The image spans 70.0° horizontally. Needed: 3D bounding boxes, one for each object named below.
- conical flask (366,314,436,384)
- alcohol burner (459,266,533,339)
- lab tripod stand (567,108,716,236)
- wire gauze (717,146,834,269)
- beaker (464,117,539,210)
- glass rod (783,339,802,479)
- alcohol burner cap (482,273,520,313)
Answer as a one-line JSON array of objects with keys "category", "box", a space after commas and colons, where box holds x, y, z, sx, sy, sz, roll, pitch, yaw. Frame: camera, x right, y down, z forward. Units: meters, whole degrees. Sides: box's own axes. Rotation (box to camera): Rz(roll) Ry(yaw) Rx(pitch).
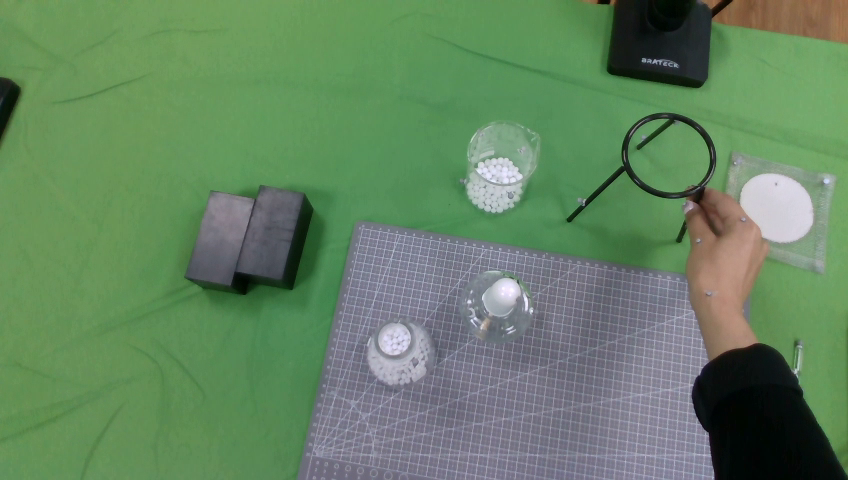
[{"category": "conical flask", "box": [-0.026, 0.102, 0.602, 0.075, 0.122, 0.075, 0, 74, 1]}, {"category": "alcohol burner", "box": [0.075, 0.060, 0.617, 0.078, 0.119, 0.077, 0, 74, -1]}, {"category": "lab tripod stand", "box": [0.234, -0.067, 0.644, 0.148, 0.132, 0.147, 0, 76, 2]}, {"category": "wire gauze", "box": [0.407, -0.041, 0.701, 0.125, 0.011, 0.121, 17, 76, 3]}, {"category": "beaker", "box": [0.083, -0.081, 0.667, 0.084, 0.101, 0.073, -30, 76, -8]}, {"category": "glass rod", "box": [0.383, 0.201, 0.633, 0.008, 0.008, 0.199, 14, 75, 4]}, {"category": "alcohol burner cap", "box": [0.076, 0.049, 0.583, 0.034, 0.048, 0.033, 3, 69, -8]}]
